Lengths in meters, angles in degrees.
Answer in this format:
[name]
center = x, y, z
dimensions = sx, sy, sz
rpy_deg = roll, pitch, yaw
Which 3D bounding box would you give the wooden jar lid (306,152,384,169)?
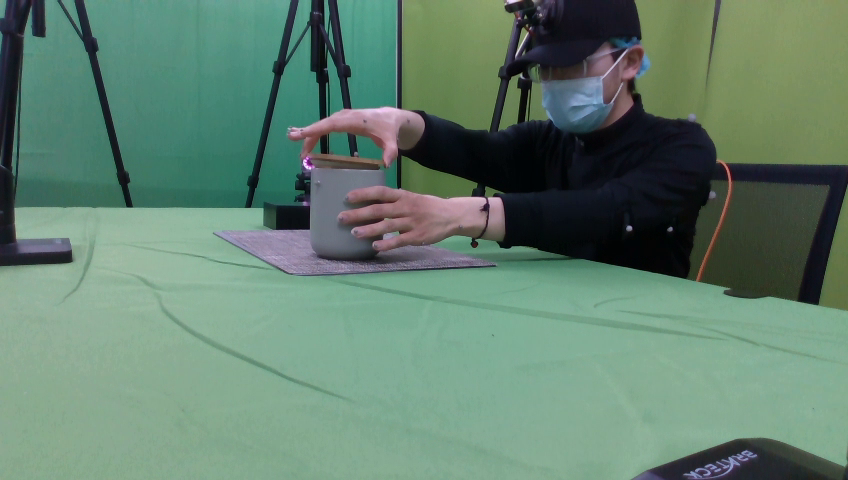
[wooden jar lid]
center = -0.111, -0.109, 0.848
dimensions = 0.108, 0.020, 0.108
rpy_deg = 5, 5, 0

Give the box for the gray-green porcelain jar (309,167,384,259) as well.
[gray-green porcelain jar]
center = -0.109, -0.040, 0.859
dimensions = 0.106, 0.126, 0.106
rpy_deg = 2, 7, 0
